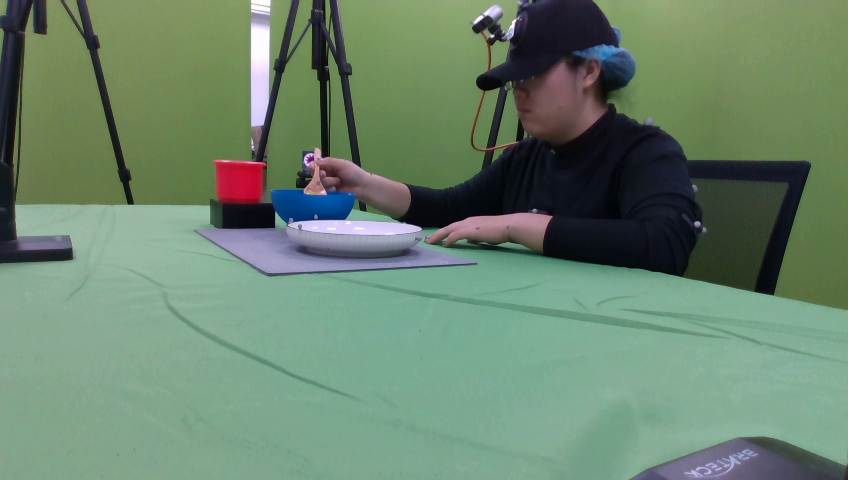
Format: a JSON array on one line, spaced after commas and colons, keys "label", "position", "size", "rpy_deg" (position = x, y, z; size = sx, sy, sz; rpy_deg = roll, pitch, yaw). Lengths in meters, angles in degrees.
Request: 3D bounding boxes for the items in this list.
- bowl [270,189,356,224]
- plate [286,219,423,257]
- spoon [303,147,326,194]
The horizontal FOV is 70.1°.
[{"label": "bowl", "position": [-0.199, -0.049, 1.080], "size": [0.151, 0.077, 0.151], "rpy_deg": [3, 8, 0]}, {"label": "plate", "position": [-0.105, -0.004, 0.922], "size": [0.208, 0.039, 0.207], "rpy_deg": [3, 8, 0]}, {"label": "spoon", "position": [-0.201, -0.129, 1.131], "size": [0.042, 0.021, 0.193], "rpy_deg": [4, 38, -10]}]
